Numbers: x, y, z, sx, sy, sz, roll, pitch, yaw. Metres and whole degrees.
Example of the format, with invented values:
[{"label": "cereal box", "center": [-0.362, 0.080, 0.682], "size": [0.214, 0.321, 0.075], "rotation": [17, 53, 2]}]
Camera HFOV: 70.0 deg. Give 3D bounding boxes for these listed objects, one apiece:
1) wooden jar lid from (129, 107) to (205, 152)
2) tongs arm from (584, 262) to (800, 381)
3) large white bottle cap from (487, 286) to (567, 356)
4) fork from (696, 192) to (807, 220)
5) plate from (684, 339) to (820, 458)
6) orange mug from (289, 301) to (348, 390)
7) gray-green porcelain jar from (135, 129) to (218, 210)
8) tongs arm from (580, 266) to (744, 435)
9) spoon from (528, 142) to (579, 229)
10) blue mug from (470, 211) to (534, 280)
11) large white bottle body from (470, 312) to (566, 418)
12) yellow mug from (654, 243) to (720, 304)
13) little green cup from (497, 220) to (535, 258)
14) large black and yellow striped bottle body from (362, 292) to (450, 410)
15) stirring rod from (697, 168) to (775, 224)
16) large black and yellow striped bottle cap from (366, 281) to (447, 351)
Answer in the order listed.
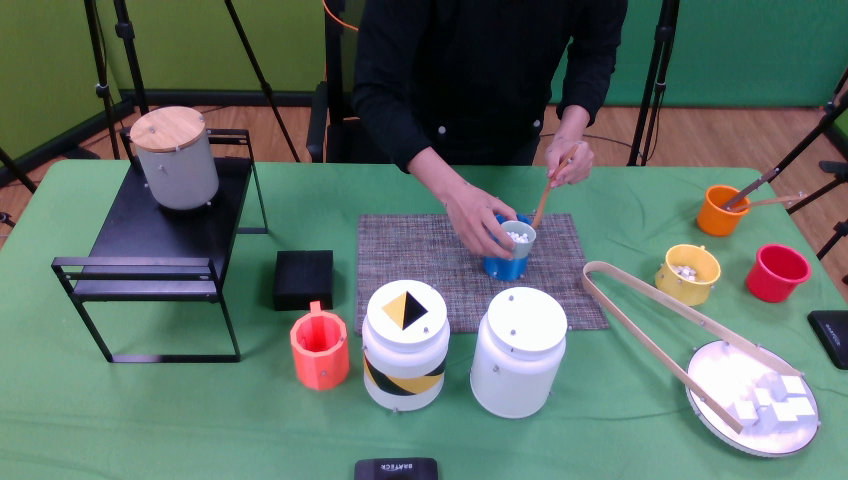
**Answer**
[{"label": "wooden jar lid", "center": [-0.385, -0.163, 0.915], "size": [0.108, 0.021, 0.107], "rotation": [2, 47, -2]}, {"label": "tongs arm", "center": [0.451, 0.137, 1.064], "size": [0.051, 0.027, 0.382], "rotation": [-34, 50, -27]}, {"label": "large white bottle cap", "center": [0.147, 0.114, 0.869], "size": [0.115, 0.018, 0.114], "rotation": [3, 46, -3]}, {"label": "fork", "center": [0.655, -0.069, 1.224], "size": [0.207, 0.019, 0.028], "rotation": [-17, 34, 45]}, {"label": "plate", "center": [0.523, 0.256, 0.982], "size": [0.208, 0.039, 0.206], "rotation": [2, 46, -2]}, {"label": "orange mug", "center": [-0.170, 0.162, 0.976], "size": [0.083, 0.101, 0.125], "rotation": [-7, 52, -11]}, {"label": "gray-green porcelain jar", "center": [-0.388, -0.120, 0.960], "size": [0.106, 0.127, 0.105], "rotation": [2, 46, -2]}, {"label": "tongs arm", "center": [0.384, 0.173, 1.028], "size": [0.028, 0.028, 0.385], "rotation": [-25, 46, -15]}, {"label": "spoon", "center": [0.214, -0.086, 1.046], "size": [0.021, 0.194, 0.041], "rotation": [30, 28, 13]}, {"label": "blue mug", "center": [0.141, 0.005, 1.140], "size": [0.116, 0.106, 0.082], "rotation": [20, 48, 14]}, {"label": "large white bottle body", "center": [0.143, 0.173, 0.930], "size": [0.131, 0.185, 0.130], "rotation": [2, 46, -2]}, {"label": "yellow mug", "center": [0.504, 0.054, 1.154], "size": [0.099, 0.064, 0.130], "rotation": [29, 50, 22]}, {"label": "little green cup", "center": [0.149, -0.001, 0.999], "size": [0.061, 0.039, 0.061], "rotation": [8, 37, -6]}, {"label": "large black and yellow striped bottle body", "center": [-0.029, 0.163, 0.928], "size": [0.131, 0.185, 0.130], "rotation": [2, 47, -2]}, {"label": "stirring rod", "center": [0.644, -0.090, 1.252], "size": [0.176, 0.006, 0.014], "rotation": [-40, 53, 16]}, {"label": "large black and yellow striped bottle cap", "center": [-0.025, 0.106, 0.865], "size": [0.115, 0.019, 0.114], "rotation": [2, 46, -1]}]
